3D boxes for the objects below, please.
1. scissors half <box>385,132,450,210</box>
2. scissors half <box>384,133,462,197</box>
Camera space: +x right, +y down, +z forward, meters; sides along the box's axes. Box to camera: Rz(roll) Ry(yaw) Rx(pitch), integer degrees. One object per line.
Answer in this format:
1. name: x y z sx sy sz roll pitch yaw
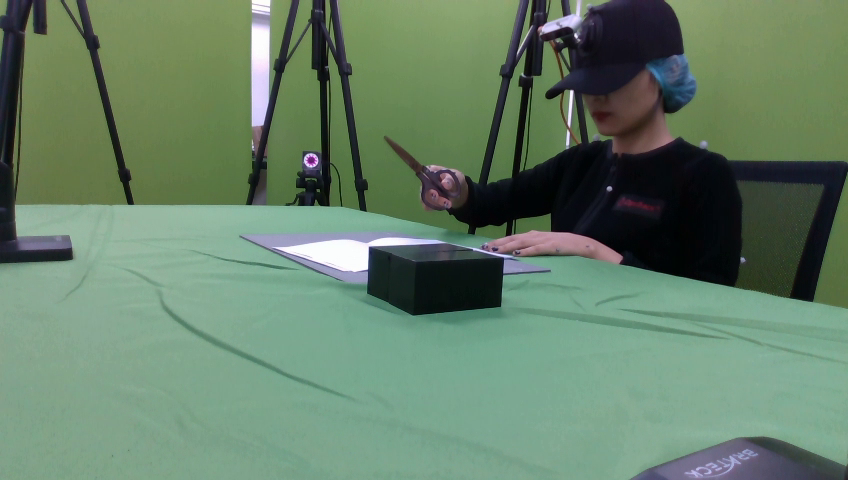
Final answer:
1. scissors half: -0.014 -0.115 1.023 0.040 0.176 0.012 -38 27 0
2. scissors half: 0.000 -0.130 1.023 0.176 0.040 0.013 32 3 -27
